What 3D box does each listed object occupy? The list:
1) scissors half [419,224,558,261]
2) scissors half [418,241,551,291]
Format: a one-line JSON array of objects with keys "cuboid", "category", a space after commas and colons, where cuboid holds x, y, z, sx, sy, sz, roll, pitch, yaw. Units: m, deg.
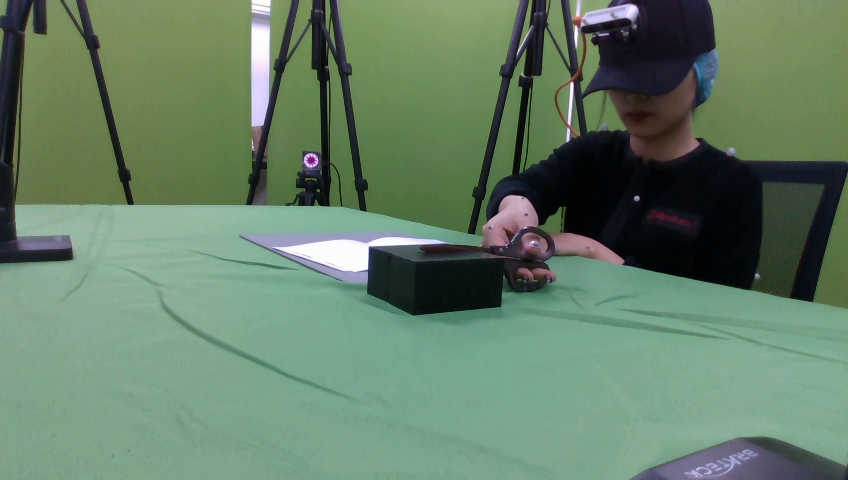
[{"cuboid": [0.072, 0.004, 0.641, 0.176, 0.040, 0.013, -3, 11, -29], "category": "scissors half"}, {"cuboid": [0.068, 0.024, 0.644, 0.176, 0.040, 0.012, 17, 6, -31], "category": "scissors half"}]
